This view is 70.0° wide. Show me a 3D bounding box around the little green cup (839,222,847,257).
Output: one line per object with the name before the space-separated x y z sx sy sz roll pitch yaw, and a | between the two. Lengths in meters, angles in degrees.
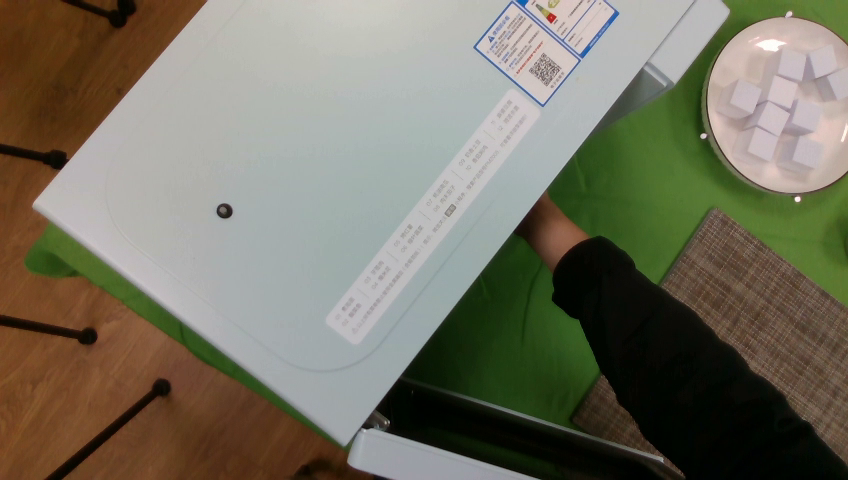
little green cup | 0.531 -0.001 0.720 0.061 0.038 0.061 0 88 -5

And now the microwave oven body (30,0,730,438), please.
microwave oven body | -0.037 -0.112 0.549 0.326 0.260 0.441 39 86 -4

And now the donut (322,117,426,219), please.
donut | -0.047 -0.069 0.582 0.099 0.048 0.099 0 95 -3

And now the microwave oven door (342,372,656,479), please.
microwave oven door | 0.103 0.199 0.555 0.356 0.243 0.039 18 86 -5

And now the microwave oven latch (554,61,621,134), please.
microwave oven latch | 0.180 -0.155 0.668 0.030 0.029 0.079 43 86 -4

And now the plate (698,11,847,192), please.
plate | 0.417 -0.158 0.710 0.208 0.039 0.207 0 89 -6

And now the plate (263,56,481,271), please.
plate | -0.050 -0.073 0.594 0.209 0.038 0.208 0 87 -7
